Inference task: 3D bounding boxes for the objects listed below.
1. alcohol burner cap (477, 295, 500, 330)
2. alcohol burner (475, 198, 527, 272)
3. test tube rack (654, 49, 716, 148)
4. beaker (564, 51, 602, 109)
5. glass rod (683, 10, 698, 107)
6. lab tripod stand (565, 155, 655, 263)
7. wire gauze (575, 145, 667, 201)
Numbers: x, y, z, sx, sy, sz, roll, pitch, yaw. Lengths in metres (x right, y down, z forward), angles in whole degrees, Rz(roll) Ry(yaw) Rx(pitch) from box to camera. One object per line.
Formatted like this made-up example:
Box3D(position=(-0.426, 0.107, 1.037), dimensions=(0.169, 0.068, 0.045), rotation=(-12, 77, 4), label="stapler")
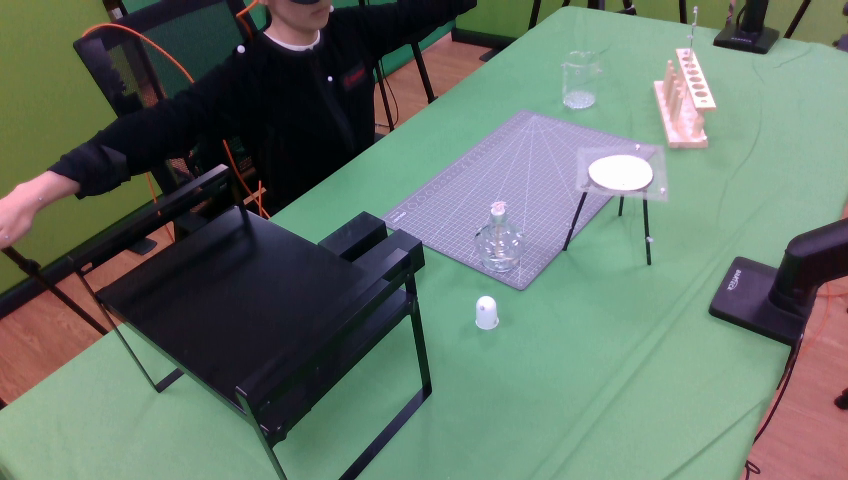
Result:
Box3D(position=(0.089, 0.097, 0.833), dimensions=(0.034, 0.048, 0.033), rotation=(-4, 42, 4), label="alcohol burner cap")
Box3D(position=(0.113, -0.012, 0.897), dimensions=(0.078, 0.119, 0.077), rotation=(-6, 40, 6), label="alcohol burner")
Box3D(position=(0.502, -0.281, 1.176), dimensions=(0.066, 0.085, 0.241), rotation=(2, 42, 11), label="test tube rack")
Box3D(position=(0.326, -0.330, 1.250), dimensions=(0.074, 0.101, 0.084), rotation=(4, 41, 13), label="beaker")
Box3D(position=(0.501, -0.336, 1.139), dimensions=(0.008, 0.201, 0.008), rotation=(-8, 43, 8), label="glass rod")
Box3D(position=(0.285, -0.046, 0.901), dimensions=(0.148, 0.132, 0.147), rotation=(-5, 42, 5), label="lab tripod stand")
Box3D(position=(0.279, -0.100, 0.860), dimensions=(0.124, 0.011, 0.121), rotation=(5, 43, 14), label="wire gauze")
